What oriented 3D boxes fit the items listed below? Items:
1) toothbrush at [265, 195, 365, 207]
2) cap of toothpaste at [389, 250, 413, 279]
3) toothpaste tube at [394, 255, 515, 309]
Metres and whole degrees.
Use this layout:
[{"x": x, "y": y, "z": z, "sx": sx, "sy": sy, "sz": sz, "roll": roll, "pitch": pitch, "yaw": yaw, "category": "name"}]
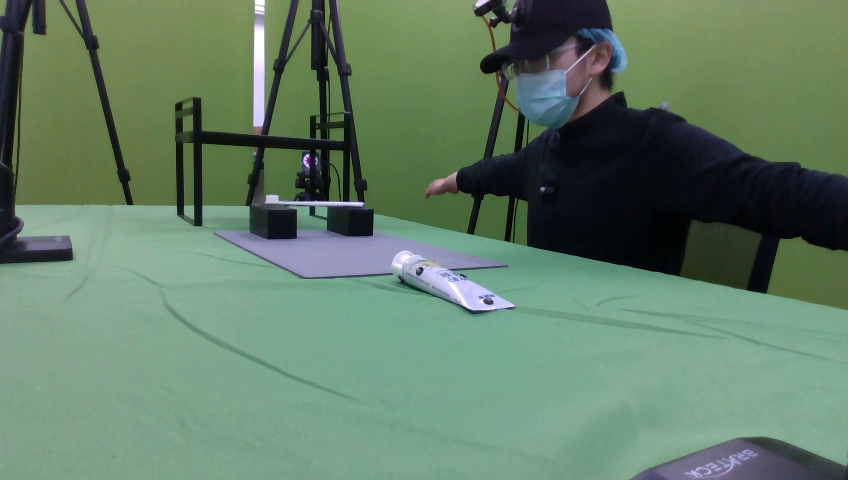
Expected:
[{"x": -0.192, "y": -0.068, "z": 1.082, "sx": 0.183, "sy": 0.016, "sz": 0.014, "roll": 1, "pitch": -8, "yaw": -26, "category": "toothbrush"}, {"x": -0.023, "y": 0.030, "z": 0.700, "sx": 0.037, "sy": 0.037, "sz": 0.011, "roll": -3, "pitch": 13, "yaw": -36, "category": "cap of toothpaste"}, {"x": 0.020, "y": 0.046, "z": 0.636, "sx": 0.055, "sy": 0.034, "sz": 0.164, "roll": -6, "pitch": 15, "yaw": -35, "category": "toothpaste tube"}]
